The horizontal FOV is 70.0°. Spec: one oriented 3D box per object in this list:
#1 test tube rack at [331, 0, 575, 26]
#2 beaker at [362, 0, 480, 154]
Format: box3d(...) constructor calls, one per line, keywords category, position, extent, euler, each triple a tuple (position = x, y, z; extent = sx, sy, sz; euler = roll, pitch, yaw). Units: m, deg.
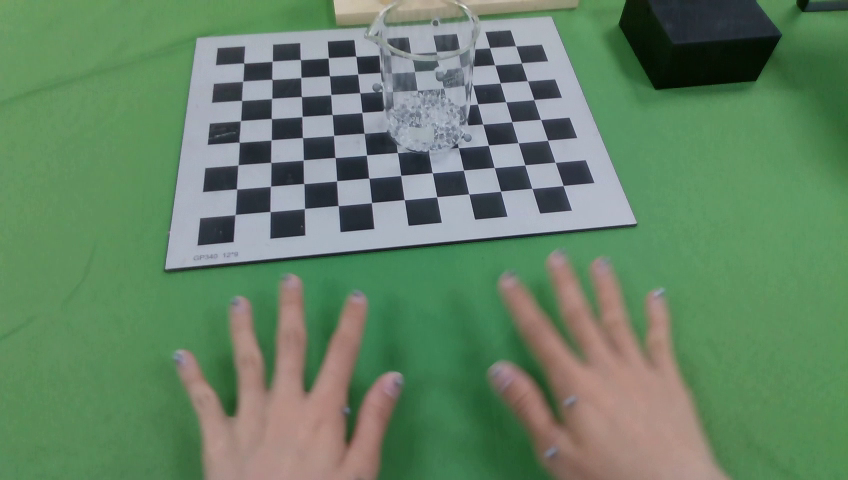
box3d(category="test tube rack", position=(0.028, -0.272, 0.585), extent=(0.243, 0.086, 0.066), euler=(-7, 55, -7))
box3d(category="beaker", position=(-0.002, -0.123, 0.465), extent=(0.084, 0.101, 0.073), euler=(-6, 55, -5))
